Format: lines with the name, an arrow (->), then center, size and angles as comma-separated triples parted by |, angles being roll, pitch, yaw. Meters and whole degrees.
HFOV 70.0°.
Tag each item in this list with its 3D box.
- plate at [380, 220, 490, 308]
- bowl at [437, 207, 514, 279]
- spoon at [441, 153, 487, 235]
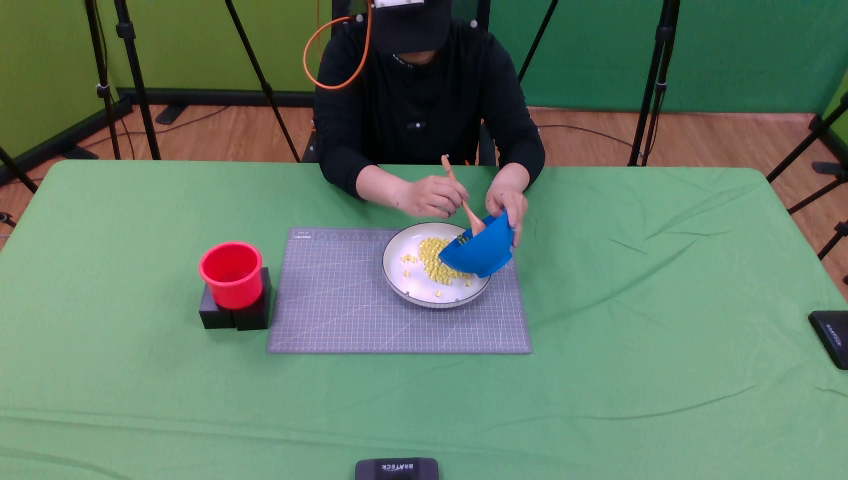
plate -> 0.022, 0.048, 1.138 | 0.208, 0.039, 0.206 | 2, 46, -2
bowl -> 0.106, 0.016, 1.075 | 0.151, 0.151, 0.077 | -38, 94, -32
spoon -> 0.074, -0.068, 1.089 | 0.041, 0.021, 0.193 | -25, 84, -24
